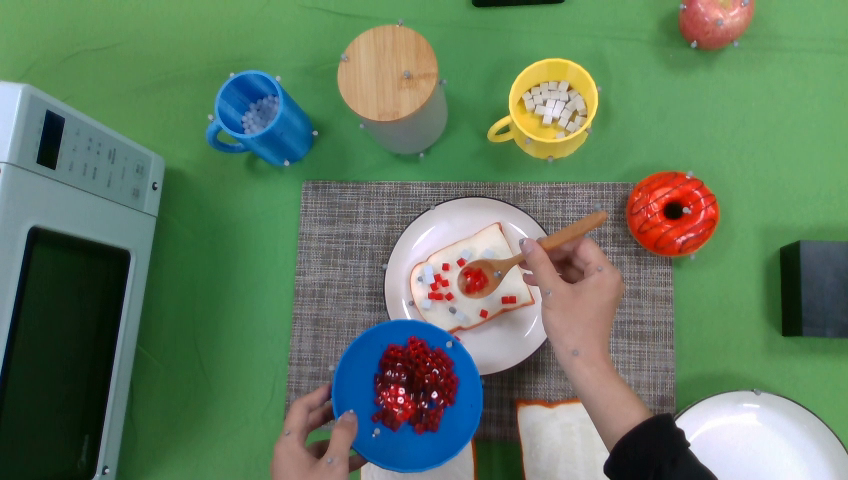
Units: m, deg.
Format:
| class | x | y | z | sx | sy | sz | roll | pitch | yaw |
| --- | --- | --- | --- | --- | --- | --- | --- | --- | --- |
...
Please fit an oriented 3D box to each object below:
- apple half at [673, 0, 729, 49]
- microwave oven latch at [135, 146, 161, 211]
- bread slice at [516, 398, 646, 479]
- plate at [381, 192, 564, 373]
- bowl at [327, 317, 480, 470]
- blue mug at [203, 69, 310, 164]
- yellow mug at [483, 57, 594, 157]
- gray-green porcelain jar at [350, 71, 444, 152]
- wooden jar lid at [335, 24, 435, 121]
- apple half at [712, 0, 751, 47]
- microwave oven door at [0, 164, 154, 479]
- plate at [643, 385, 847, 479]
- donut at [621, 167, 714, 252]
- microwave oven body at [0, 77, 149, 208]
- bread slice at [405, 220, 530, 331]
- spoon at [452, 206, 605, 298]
| class | x | y | z | sx | sy | sz | roll | pitch | yaw |
| --- | --- | --- | --- | --- | --- | --- | --- | --- | --- |
| apple half | 0.309 | -0.248 | 0.699 | 0.033 | 0.081 | 0.081 | -31 | 78 | -3 |
| microwave oven latch | -0.355 | -0.078 | 0.765 | 0.030 | 0.029 | 0.079 | 7 | 83 | 8 |
| bread slice | 0.169 | 0.223 | 0.638 | 0.135 | 0.018 | 0.106 | -3 | 77 | -13 |
| plate | 0.055 | 0.049 | 0.704 | 0.207 | 0.039 | 0.207 | -1 | 81 | 8 |
| bowl | -0.025 | 0.162 | 0.620 | 0.152 | 0.077 | 0.150 | 6 | 61 | -10 |
| blue mug | -0.210 | -0.141 | 0.739 | 0.116 | 0.106 | 0.082 | -24 | 78 | 4 |
| yellow mug | 0.131 | -0.149 | 0.714 | 0.131 | 0.064 | 0.099 | -23 | 79 | 4 |
| gray-green porcelain jar | -0.032 | -0.166 | 0.708 | 0.106 | 0.127 | 0.105 | -1 | 81 | 8 |
| wooden jar lid | -0.041 | -0.177 | 0.647 | 0.108 | 0.021 | 0.108 | -2 | 79 | 8 |
| apple half | 0.342 | -0.269 | 0.699 | 0.053 | 0.075 | 0.080 | -31 | 74 | -3 |
| microwave oven door | -0.393 | 0.121 | 0.636 | 0.039 | 0.245 | 0.354 | 4 | 81 | 9 |
| plate | 0.336 | 0.257 | 0.636 | 0.209 | 0.038 | 0.208 | -1 | 81 | 8 |
| donut | 0.273 | -0.034 | 0.683 | 0.099 | 0.048 | 0.098 | -1 | 82 | 7 |
| microwave oven body | -0.532 | 0.069 | 0.668 | 0.325 | 0.261 | 0.440 | 4 | 82 | 8 |
| bread slice | 0.045 | 0.049 | 0.707 | 0.131 | 0.019 | 0.104 | -25 | 78 | 1 |
| spoon | 0.096 | 0.014 | 0.592 | 0.193 | 0.022 | 0.041 | -32 | 78 | 46 |
